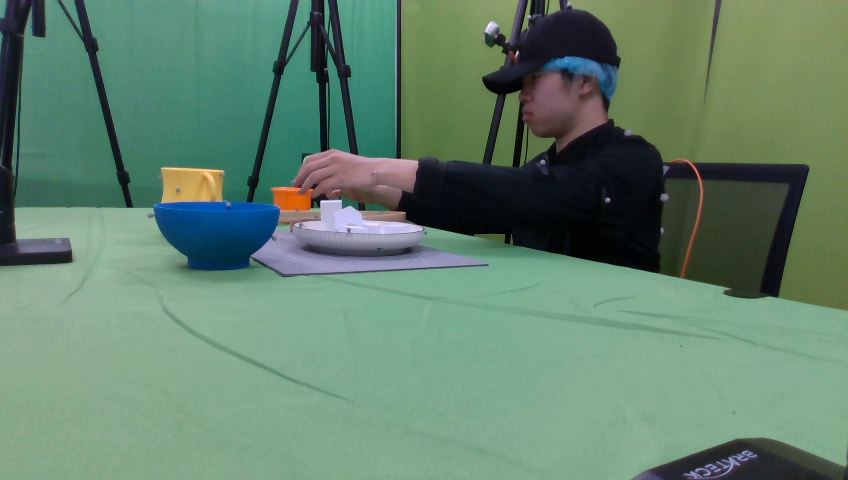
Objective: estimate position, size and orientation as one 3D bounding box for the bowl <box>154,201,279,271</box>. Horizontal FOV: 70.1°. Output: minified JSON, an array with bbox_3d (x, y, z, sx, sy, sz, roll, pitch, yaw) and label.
[{"bbox_3d":[-0.263,-0.005,0.773,0.151,0.077,0.151,3,8,0],"label":"bowl"}]

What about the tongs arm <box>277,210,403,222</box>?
[{"bbox_3d":[-0.206,-0.052,1.332,0.387,0.026,0.050,-2,8,-44],"label":"tongs arm"}]

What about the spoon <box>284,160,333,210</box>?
[{"bbox_3d":[-0.262,-0.115,1.359,0.041,0.194,0.022,9,-34,41],"label":"spoon"}]

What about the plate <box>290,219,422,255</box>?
[{"bbox_3d":[-0.107,-0.005,0.963,0.208,0.039,0.207,2,7,0],"label":"plate"}]

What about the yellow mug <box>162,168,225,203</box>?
[{"bbox_3d":[-0.383,-0.087,1.026,0.130,0.064,0.100,11,11,44],"label":"yellow mug"}]

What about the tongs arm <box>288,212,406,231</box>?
[{"bbox_3d":[-0.146,-0.041,1.280,0.028,0.028,0.389,3,5,33],"label":"tongs arm"}]
